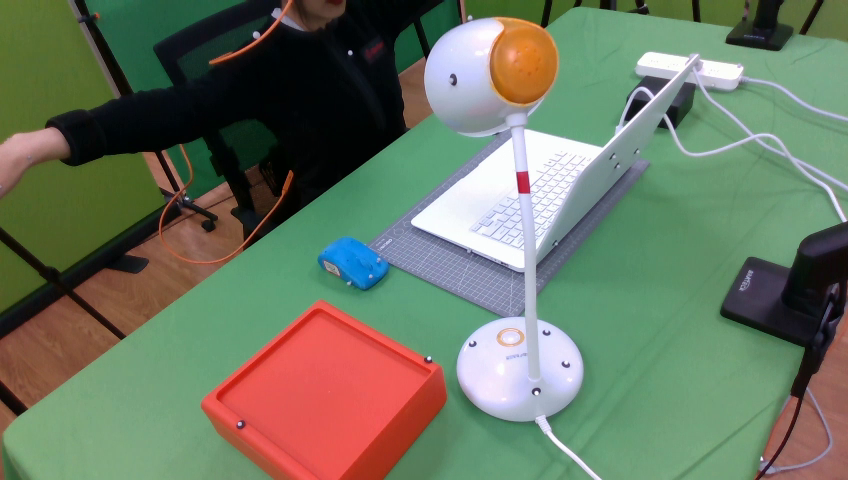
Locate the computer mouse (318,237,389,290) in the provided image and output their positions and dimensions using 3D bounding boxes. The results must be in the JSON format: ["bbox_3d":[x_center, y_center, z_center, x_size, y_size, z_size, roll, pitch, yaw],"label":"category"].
[{"bbox_3d":[-0.113,0.033,0.959,0.116,0.041,0.063,28,50,31],"label":"computer mouse"}]

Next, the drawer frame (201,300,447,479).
[{"bbox_3d":[-0.117,0.193,0.733,0.212,0.083,0.202,23,48,32],"label":"drawer frame"}]

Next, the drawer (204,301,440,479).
[{"bbox_3d":[-0.119,0.193,0.735,0.210,0.073,0.195,23,49,32],"label":"drawer"}]

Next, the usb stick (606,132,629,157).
[{"bbox_3d":[0.353,-0.174,1.109,0.021,0.027,0.059,23,49,32],"label":"usb stick"}]

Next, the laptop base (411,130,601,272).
[{"bbox_3d":[0.175,-0.083,1.054,0.233,0.023,0.355,22,49,36],"label":"laptop base"}]

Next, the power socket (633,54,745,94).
[{"bbox_3d":[0.563,-0.358,1.295,0.225,0.033,0.072,21,50,30],"label":"power socket"}]

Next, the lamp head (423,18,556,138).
[{"bbox_3d":[0.069,-0.151,0.563,0.113,0.113,0.122,-21,18,-13],"label":"lamp head"}]

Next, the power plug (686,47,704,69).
[{"bbox_3d":[0.564,-0.384,1.248,0.035,0.073,0.052,22,71,15],"label":"power plug"}]

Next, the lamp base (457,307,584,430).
[{"bbox_3d":[0.115,0.108,0.713,0.161,0.181,0.178,-16,43,-8],"label":"lamp base"}]

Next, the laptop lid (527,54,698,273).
[{"bbox_3d":[0.281,-0.113,0.896,0.013,0.242,0.358,38,55,17],"label":"laptop lid"}]
